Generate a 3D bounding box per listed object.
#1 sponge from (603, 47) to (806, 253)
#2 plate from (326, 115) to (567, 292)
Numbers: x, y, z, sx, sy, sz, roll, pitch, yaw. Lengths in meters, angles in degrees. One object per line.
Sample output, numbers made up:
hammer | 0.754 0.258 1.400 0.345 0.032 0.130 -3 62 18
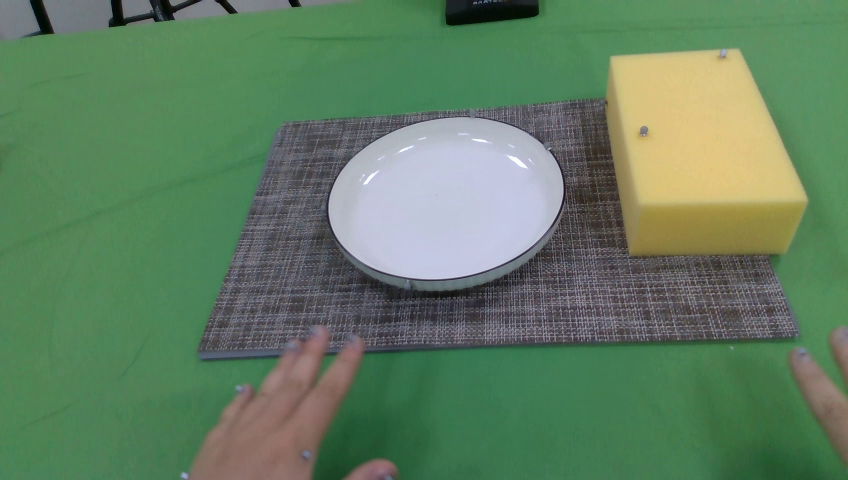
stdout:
sponge | 0.228 -0.084 0.525 0.118 0.061 0.205 -2 47 9
plate | 0.020 -0.033 0.533 0.207 0.039 0.205 -5 47 6
